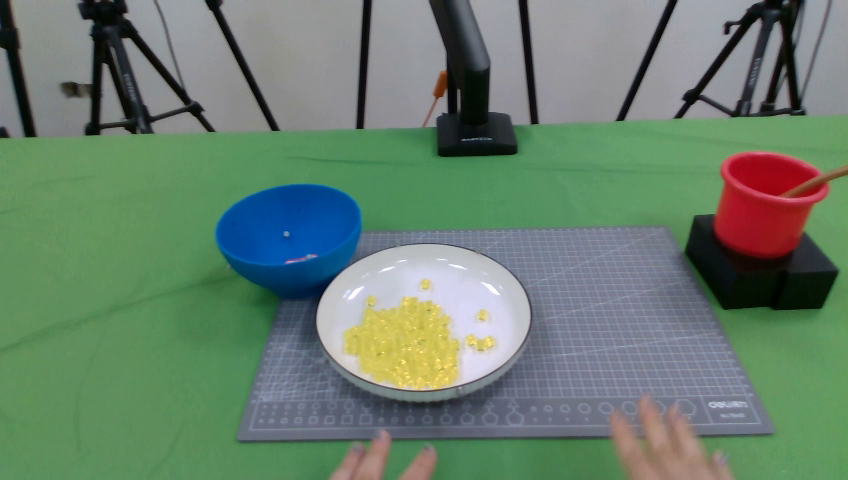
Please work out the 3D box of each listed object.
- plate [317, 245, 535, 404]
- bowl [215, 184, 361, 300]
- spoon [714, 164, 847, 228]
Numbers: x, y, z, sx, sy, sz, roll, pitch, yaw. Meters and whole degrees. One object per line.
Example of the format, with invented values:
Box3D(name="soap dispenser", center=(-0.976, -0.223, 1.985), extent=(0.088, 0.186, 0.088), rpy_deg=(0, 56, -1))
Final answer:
Box3D(name="plate", center=(0.002, 0.080, 0.591), extent=(0.208, 0.039, 0.205), rpy_deg=(-1, 36, 1))
Box3D(name="bowl", center=(-0.139, 0.011, 0.655), extent=(0.151, 0.077, 0.150), rpy_deg=(-1, 37, 1))
Box3D(name="spoon", center=(0.376, -0.052, 0.580), extent=(0.193, 0.022, 0.041), rpy_deg=(-31, 10, 43))
